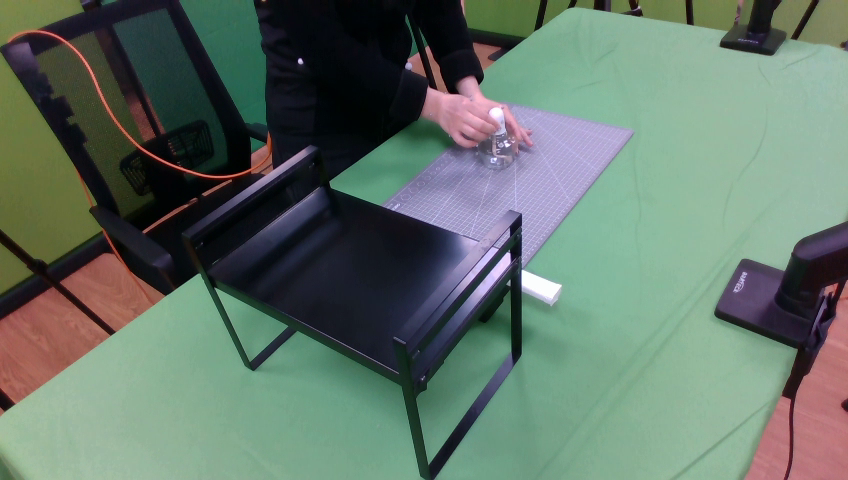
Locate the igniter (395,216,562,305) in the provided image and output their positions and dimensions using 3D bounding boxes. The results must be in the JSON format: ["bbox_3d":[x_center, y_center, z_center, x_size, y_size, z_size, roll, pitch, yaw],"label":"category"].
[{"bbox_3d":[0.066,0.023,0.864,0.274,0.025,0.057,24,48,28],"label":"igniter"}]

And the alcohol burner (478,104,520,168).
[{"bbox_3d":[0.136,-0.194,1.107,0.078,0.119,0.077,-5,38,4],"label":"alcohol burner"}]

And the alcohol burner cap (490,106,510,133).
[{"bbox_3d":[0.134,-0.219,1.087,0.034,0.048,0.033,-12,50,14],"label":"alcohol burner cap"}]
